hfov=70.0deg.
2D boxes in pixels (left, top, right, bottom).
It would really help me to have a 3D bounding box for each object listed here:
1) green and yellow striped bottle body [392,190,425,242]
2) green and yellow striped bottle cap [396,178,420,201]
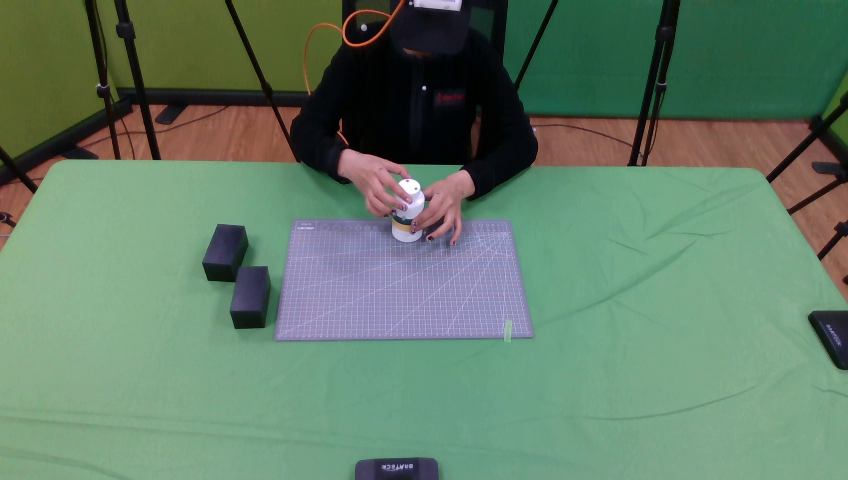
[{"bbox_3d":[-0.030,-0.058,1.178,0.063,0.120,0.063,2,46,-2],"label":"green and yellow striped bottle body"},{"bbox_3d":[-0.029,-0.096,1.139,0.045,0.020,0.045,3,46,-3],"label":"green and yellow striped bottle cap"}]
